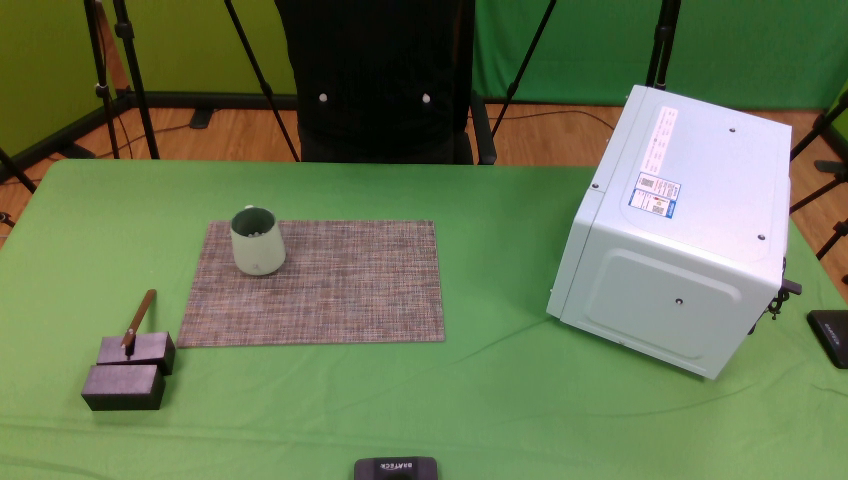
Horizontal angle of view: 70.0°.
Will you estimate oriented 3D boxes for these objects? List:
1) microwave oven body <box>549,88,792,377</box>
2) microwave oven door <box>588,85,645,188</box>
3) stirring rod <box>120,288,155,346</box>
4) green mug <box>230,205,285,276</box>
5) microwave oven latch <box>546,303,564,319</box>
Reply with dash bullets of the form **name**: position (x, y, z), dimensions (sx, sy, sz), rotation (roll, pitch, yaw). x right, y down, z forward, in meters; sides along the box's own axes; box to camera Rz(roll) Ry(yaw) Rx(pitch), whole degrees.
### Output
- **microwave oven body**: position (0.456, -0.028, 1.088), dimensions (0.325, 0.261, 0.440), rotation (20, 47, 16)
- **microwave oven door**: position (0.342, -0.107, 1.149), dimensions (0.039, 0.245, 0.354), rotation (20, 48, 15)
- **stirring rod**: position (-0.474, 0.125, 1.008), dimensions (0.014, 0.006, 0.175), rotation (-5, 26, -8)
- **green mug**: position (-0.311, -0.008, 1.118), dimensions (0.092, 0.105, 0.124), rotation (-14, 49, -16)
- **microwave oven latch**: position (0.242, 0.102, 1.081), dimensions (0.030, 0.029, 0.079), rotation (21, 48, 17)
